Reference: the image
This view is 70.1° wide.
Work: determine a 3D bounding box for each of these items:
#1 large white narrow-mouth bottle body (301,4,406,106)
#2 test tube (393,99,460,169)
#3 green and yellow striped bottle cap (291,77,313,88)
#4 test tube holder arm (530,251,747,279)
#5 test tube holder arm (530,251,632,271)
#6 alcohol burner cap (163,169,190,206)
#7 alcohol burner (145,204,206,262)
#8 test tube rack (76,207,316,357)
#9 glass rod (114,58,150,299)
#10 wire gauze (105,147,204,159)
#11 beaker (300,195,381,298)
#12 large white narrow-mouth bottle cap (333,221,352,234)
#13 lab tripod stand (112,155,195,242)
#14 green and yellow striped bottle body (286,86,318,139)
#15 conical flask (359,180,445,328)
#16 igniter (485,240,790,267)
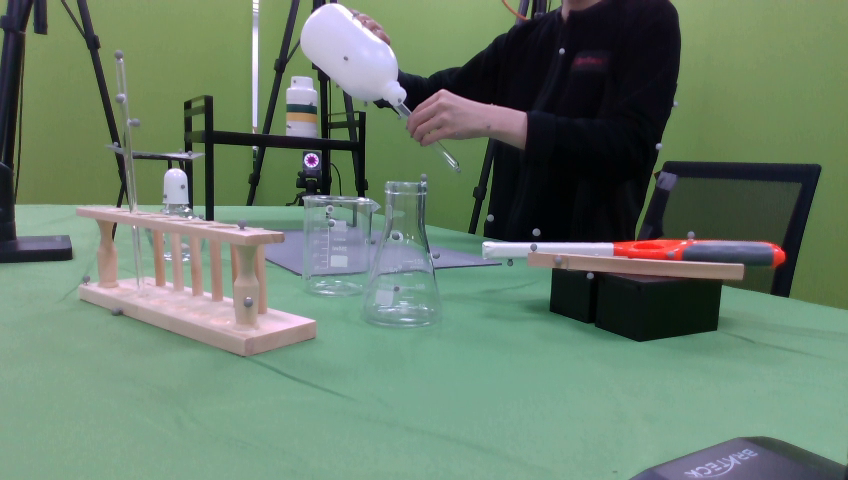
[{"bbox_3d":[-0.103,-0.287,0.979,0.194,0.101,0.102,44,22,15],"label":"large white narrow-mouth bottle body"},{"bbox_3d":[0.004,-0.164,0.935,0.150,0.017,0.017,48,25,15],"label":"test tube"},{"bbox_3d":[-0.250,-0.321,1.238,0.045,0.020,0.045,3,6,0],"label":"green and yellow striped bottle cap"},{"bbox_3d":[0.182,0.022,0.523,0.178,0.015,0.013,3,7,12],"label":"test tube holder arm"},{"bbox_3d":[0.139,0.019,0.538,0.087,0.015,0.010,3,7,13],"label":"test tube holder arm"},{"bbox_3d":[-0.321,-0.068,0.782,0.034,0.048,0.034,1,7,0],"label":"alcohol burner cap"},{"bbox_3d":[-0.322,-0.032,0.788,0.078,0.119,0.078,0,7,0],"label":"alcohol burner"},{"bbox_3d":[-0.196,0.023,0.500,0.241,0.085,0.067,8,9,36],"label":"test tube rack"},{"bbox_3d":[-0.236,-0.044,0.492,0.008,0.199,0.008,1,15,0],"label":"glass rod"},{"bbox_3d":[-0.407,-0.131,0.928,0.125,0.011,0.121,2,6,-11],"label":"wire gauze"},{"bbox_3d":[-0.087,0.006,0.626,0.084,0.100,0.074,1,8,-17],"label":"beaker"},{"bbox_3d":[-0.152,-0.024,1.134,0.038,0.024,0.037,4,7,0],"label":"large white narrow-mouth bottle cap"},{"bbox_3d":[-0.405,-0.064,0.931,0.148,0.131,0.148,1,7,0],"label":"lab tripod stand"},{"bbox_3d":[-0.251,-0.270,1.245,0.063,0.119,0.063,2,7,0],"label":"green and yellow striped bottle body"},{"bbox_3d":[-0.017,0.010,0.522,0.075,0.122,0.075,2,7,0],"label":"conical flask"},{"bbox_3d":[0.197,0.012,0.585,0.276,0.025,0.057,1,5,12],"label":"igniter"}]
